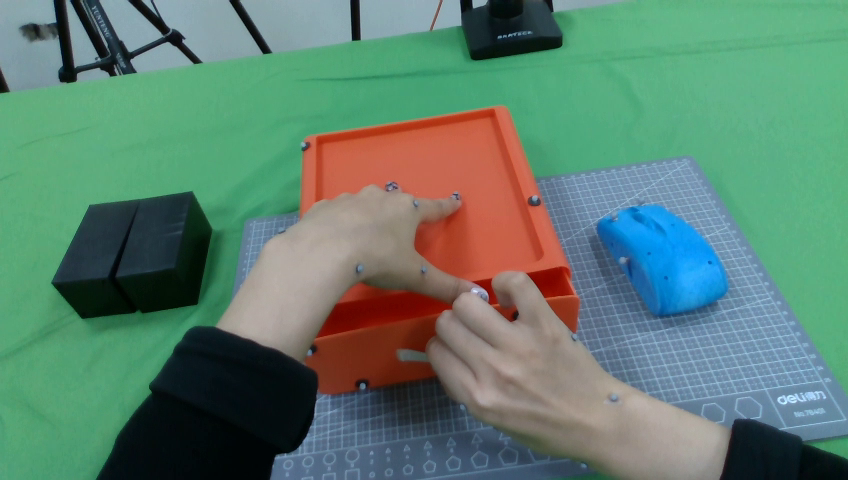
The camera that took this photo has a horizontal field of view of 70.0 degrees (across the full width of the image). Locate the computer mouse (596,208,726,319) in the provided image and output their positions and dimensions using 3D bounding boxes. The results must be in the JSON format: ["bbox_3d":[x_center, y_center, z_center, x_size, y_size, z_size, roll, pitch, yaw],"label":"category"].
[{"bbox_3d":[0.192,0.012,0.499,0.063,0.041,0.116,-15,41,-3],"label":"computer mouse"}]

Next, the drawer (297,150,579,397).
[{"bbox_3d":[0.002,0.010,0.499,0.194,0.074,0.209,-10,45,0],"label":"drawer"}]

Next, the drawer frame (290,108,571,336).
[{"bbox_3d":[-0.003,-0.010,0.518,0.202,0.083,0.211,-10,44,0],"label":"drawer frame"}]
